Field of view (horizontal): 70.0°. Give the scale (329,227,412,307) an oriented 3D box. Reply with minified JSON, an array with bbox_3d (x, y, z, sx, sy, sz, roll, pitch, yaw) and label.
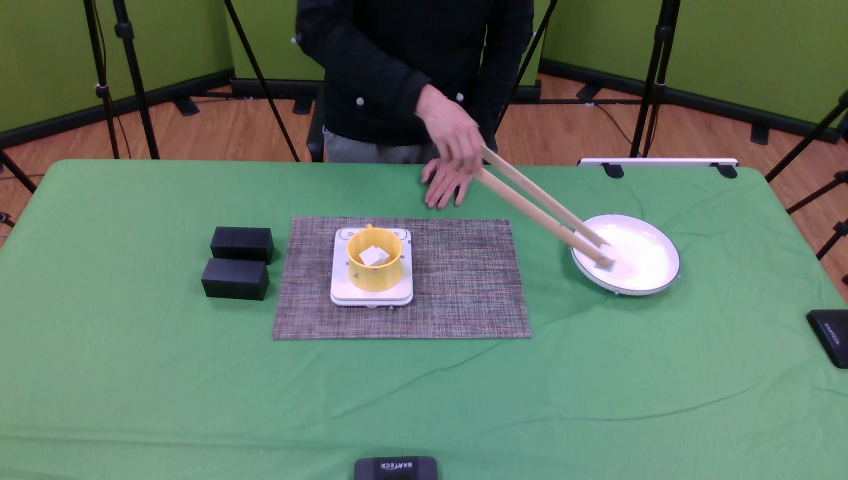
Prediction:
[{"bbox_3d":[-0.099,0.042,1.139,0.149,0.032,0.199,1,46,-4],"label":"scale"}]

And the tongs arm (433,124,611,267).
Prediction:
[{"bbox_3d":[0.176,-0.077,1.078,0.385,0.026,0.050,34,49,-6],"label":"tongs arm"}]

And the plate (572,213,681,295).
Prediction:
[{"bbox_3d":[0.393,0.030,1.189,0.208,0.039,0.206,2,46,-2],"label":"plate"}]

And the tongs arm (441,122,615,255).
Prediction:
[{"bbox_3d":[0.186,-0.092,1.095,0.388,0.028,0.028,37,52,-4],"label":"tongs arm"}]

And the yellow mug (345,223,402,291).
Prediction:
[{"bbox_3d":[-0.092,0.022,1.094,0.100,0.064,0.130,-8,46,-10],"label":"yellow mug"}]
